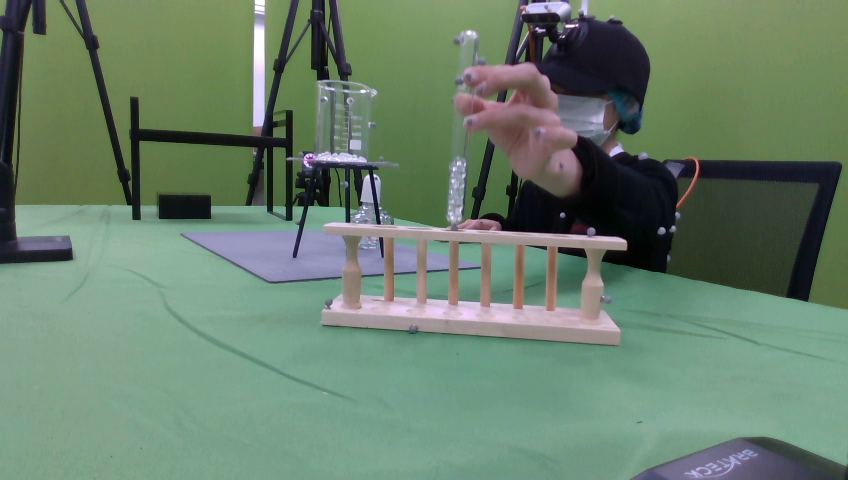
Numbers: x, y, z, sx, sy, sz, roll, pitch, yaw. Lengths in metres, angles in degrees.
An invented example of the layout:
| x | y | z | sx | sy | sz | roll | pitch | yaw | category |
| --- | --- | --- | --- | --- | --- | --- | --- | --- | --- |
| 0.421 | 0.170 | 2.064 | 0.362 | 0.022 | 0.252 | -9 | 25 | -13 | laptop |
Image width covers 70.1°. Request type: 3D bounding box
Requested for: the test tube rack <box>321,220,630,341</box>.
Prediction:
| x | y | z | sx | sy | sz | roll | pitch | yaw | category |
| --- | --- | --- | --- | --- | --- | --- | --- | --- | --- |
| 0.041 | 0.029 | 0.511 | 0.242 | 0.085 | 0.067 | 3 | 7 | 5 | test tube rack |

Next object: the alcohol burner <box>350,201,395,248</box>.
| x | y | z | sx | sy | sz | roll | pitch | yaw | category |
| --- | --- | --- | --- | --- | --- | --- | --- | --- | --- |
| -0.084 | -0.048 | 0.953 | 0.078 | 0.119 | 0.078 | 1 | 6 | 0 | alcohol burner |

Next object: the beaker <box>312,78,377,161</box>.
| x | y | z | sx | sy | sz | roll | pitch | yaw | category |
| --- | --- | --- | --- | --- | --- | --- | --- | --- | --- |
| -0.103 | -0.151 | 0.775 | 0.084 | 0.100 | 0.074 | 5 | 7 | 14 | beaker |

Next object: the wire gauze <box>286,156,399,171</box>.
| x | y | z | sx | sy | sz | roll | pitch | yaw | category |
| --- | --- | --- | --- | --- | --- | --- | --- | --- | --- |
| -0.101 | -0.103 | 0.787 | 0.121 | 0.011 | 0.125 | 5 | 4 | 6 | wire gauze |

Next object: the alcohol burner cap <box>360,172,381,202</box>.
| x | y | z | sx | sy | sz | roll | pitch | yaw | category |
| --- | --- | --- | --- | --- | --- | --- | --- | --- | --- |
| -0.081 | -0.084 | 0.949 | 0.034 | 0.048 | 0.034 | 8 | 7 | -1 | alcohol burner cap |

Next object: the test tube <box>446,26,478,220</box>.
| x | y | z | sx | sy | sz | roll | pitch | yaw | category |
| --- | --- | --- | --- | --- | --- | --- | --- | --- | --- |
| 0.030 | -0.091 | 0.478 | 0.017 | 0.150 | 0.017 | 3 | 8 | 0 | test tube |

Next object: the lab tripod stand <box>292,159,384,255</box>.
| x | y | z | sx | sy | sz | roll | pitch | yaw | category |
| --- | --- | --- | --- | --- | --- | --- | --- | --- | --- |
| -0.105 | -0.039 | 0.797 | 0.148 | 0.131 | 0.148 | 2 | 5 | 0 | lab tripod stand |
